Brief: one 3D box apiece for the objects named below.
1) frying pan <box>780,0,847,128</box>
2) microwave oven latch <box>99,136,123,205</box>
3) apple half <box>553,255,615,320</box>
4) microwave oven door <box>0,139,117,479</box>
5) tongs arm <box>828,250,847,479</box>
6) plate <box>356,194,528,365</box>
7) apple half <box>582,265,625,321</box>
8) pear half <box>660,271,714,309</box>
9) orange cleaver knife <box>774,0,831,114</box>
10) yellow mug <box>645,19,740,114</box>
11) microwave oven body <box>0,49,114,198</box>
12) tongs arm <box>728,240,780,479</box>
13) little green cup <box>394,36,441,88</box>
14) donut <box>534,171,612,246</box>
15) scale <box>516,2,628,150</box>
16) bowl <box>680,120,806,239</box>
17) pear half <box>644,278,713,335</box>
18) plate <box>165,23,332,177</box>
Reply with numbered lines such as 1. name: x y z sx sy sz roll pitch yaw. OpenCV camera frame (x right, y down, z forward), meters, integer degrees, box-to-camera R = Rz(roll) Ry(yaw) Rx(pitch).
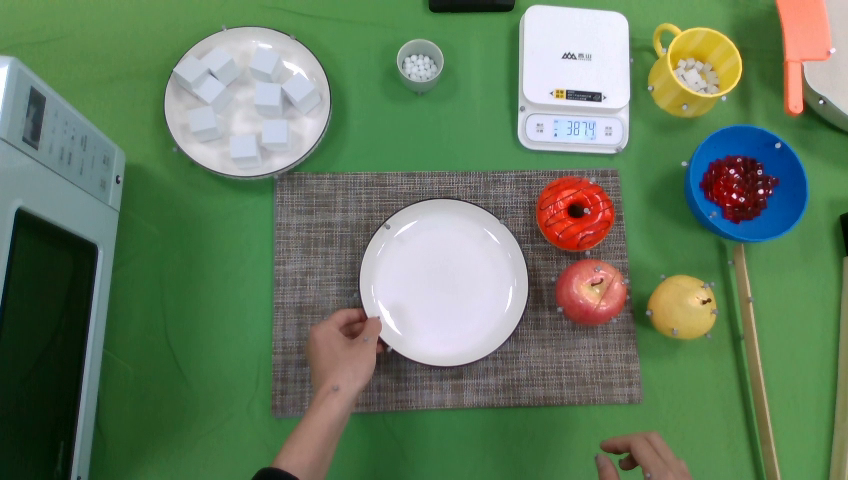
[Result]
1. frying pan: 0.675 -0.186 0.801 0.307 0.103 0.484 -28 73 -8
2. microwave oven latch: -0.384 -0.084 0.731 0.030 0.029 0.079 3 79 -3
3. apple half: 0.186 0.052 0.734 0.053 0.075 0.080 31 81 7
4. microwave oven door: -0.384 0.108 0.587 0.039 0.244 0.354 1 78 -3
5. tongs arm: 0.511 0.195 0.752 0.028 0.028 0.386 15 78 -8
6. plate: 0.022 0.047 0.740 0.209 0.038 0.208 1 78 -5
7. apple half: 0.220 0.071 0.731 0.032 0.081 0.081 31 78 7
8. pear half: 0.323 0.056 0.736 0.070 0.088 0.031 28 78 6
9. orange cleaver knife: 0.491 -0.264 0.788 0.077 0.012 0.210 3 79 0
10. yellow mug: 0.348 -0.240 0.812 0.100 0.064 0.130 -34 81 -9
11. microwave oven body: -0.529 0.065 0.593 0.326 0.261 0.439 1 79 -4
12. tongs arm: 0.425 0.188 0.743 0.051 0.026 0.383 -1 79 -8
13. little green cup: -0.008 -0.233 0.804 0.061 0.039 0.061 1 78 -3
14. donut: 0.187 -0.040 0.768 0.099 0.048 0.098 0 79 -1
15. scale: 0.199 -0.222 0.817 0.149 0.031 0.200 3 78 -2
16. bowl: 0.390 -0.068 0.773 0.151 0.077 0.150 1 79 -3
17. pear half: 0.304 0.083 0.719 0.076 0.110 0.056 30 78 8
18. plate: -0.221 -0.177 0.779 0.208 0.039 0.206 1 78 -3
